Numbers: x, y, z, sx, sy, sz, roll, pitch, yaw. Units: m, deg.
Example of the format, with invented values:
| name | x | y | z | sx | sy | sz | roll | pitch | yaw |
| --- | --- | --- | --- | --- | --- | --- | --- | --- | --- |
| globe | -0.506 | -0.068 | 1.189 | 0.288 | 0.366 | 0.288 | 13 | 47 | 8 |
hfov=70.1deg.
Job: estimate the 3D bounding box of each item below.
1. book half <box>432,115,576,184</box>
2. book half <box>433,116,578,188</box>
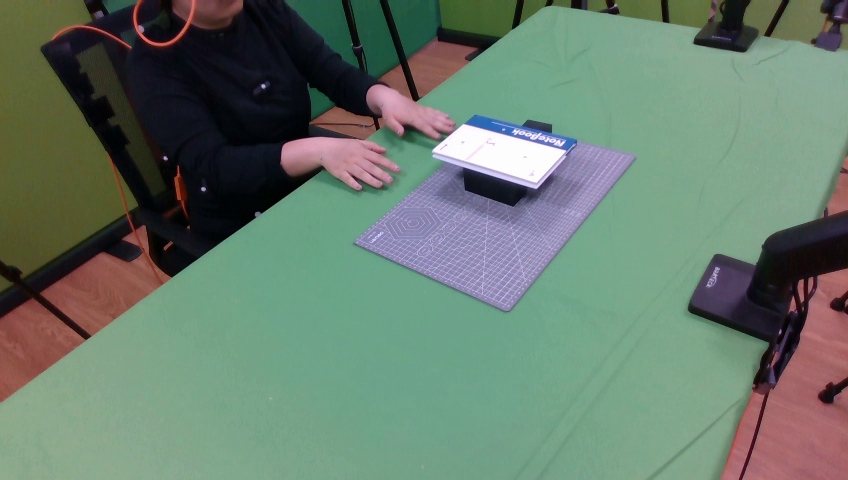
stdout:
| name | x | y | z | sx | sy | sz | roll | pitch | yaw |
| --- | --- | --- | --- | --- | --- | --- | --- | --- | --- |
| book half | 0.138 | -0.164 | 1.054 | 0.208 | 0.007 | 0.143 | 22 | 48 | 29 |
| book half | 0.140 | -0.160 | 1.060 | 0.208 | 0.016 | 0.149 | 22 | 47 | 30 |
